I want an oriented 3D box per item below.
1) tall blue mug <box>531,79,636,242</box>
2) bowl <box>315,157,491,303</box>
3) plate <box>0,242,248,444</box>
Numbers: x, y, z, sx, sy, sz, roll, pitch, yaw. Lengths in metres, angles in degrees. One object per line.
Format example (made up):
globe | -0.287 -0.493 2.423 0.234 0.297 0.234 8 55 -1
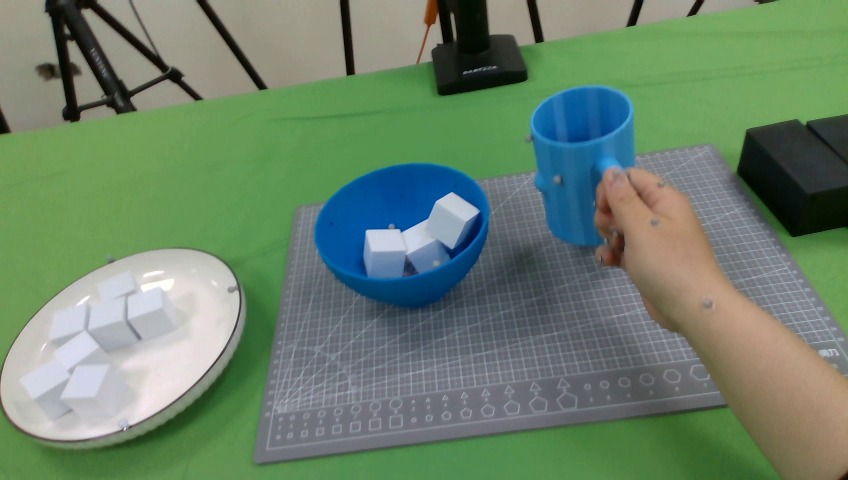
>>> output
tall blue mug | 0.141 -0.057 0.484 0.078 0.109 0.106 -39 46 -19
bowl | -0.013 0.003 0.534 0.151 0.077 0.150 -6 43 6
plate | -0.254 0.086 0.531 0.209 0.038 0.207 -5 44 6
